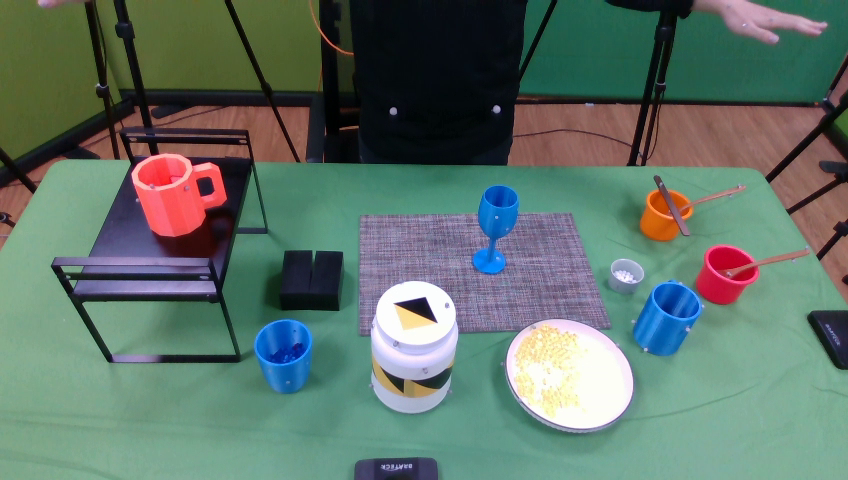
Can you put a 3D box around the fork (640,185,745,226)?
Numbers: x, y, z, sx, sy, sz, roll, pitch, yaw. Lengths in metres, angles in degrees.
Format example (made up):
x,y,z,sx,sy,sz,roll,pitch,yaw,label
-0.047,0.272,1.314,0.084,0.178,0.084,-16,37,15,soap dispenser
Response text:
x,y,z,sx,sy,sz,roll,pitch,yaw,label
0.534,-0.068,1.215,0.207,0.019,0.028,-26,26,33,fork

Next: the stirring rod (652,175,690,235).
x,y,z,sx,sy,sz,roll,pitch,yaw,label
0.492,-0.073,1.211,0.014,0.006,0.175,-1,46,-7,stirring rod

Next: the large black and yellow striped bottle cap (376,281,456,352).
x,y,z,sx,sy,sz,roll,pitch,yaw,label
-0.011,0.107,0.863,0.115,0.019,0.114,2,47,-2,large black and yellow striped bottle cap

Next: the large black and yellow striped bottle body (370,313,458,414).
x,y,z,sx,sy,sz,roll,pitch,yaw,label
-0.017,0.165,0.924,0.131,0.185,0.130,2,46,-2,large black and yellow striped bottle body

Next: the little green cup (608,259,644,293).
x,y,z,sx,sy,sz,roll,pitch,yaw,label
0.379,0.070,1.147,0.061,0.039,0.061,3,45,-2,little green cup

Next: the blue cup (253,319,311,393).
x,y,z,sx,sy,sz,roll,pitch,yaw,label
-0.217,0.187,0.943,0.093,0.101,0.092,3,45,-3,blue cup

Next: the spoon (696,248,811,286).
x,y,z,sx,sy,sz,roll,pitch,yaw,label
0.601,0.048,1.112,0.193,0.022,0.041,-25,32,35,spoon

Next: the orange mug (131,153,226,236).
x,y,z,sx,sy,sz,roll,pitch,yaw,label
-0.375,-0.075,0.937,0.126,0.101,0.083,-20,50,-16,orange mug

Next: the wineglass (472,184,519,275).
x,y,z,sx,sy,sz,roll,pitch,yaw,label
0.129,-0.018,1.113,0.074,0.173,0.073,2,46,-2,wineglass

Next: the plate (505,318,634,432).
x,y,z,sx,sy,sz,roll,pitch,yaw,label
0.235,0.221,0.991,0.209,0.038,0.208,2,45,-2,plate

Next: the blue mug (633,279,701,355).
x,y,z,sx,sy,sz,roll,pitch,yaw,label
0.419,0.124,1.052,0.082,0.106,0.116,14,46,9,blue mug
